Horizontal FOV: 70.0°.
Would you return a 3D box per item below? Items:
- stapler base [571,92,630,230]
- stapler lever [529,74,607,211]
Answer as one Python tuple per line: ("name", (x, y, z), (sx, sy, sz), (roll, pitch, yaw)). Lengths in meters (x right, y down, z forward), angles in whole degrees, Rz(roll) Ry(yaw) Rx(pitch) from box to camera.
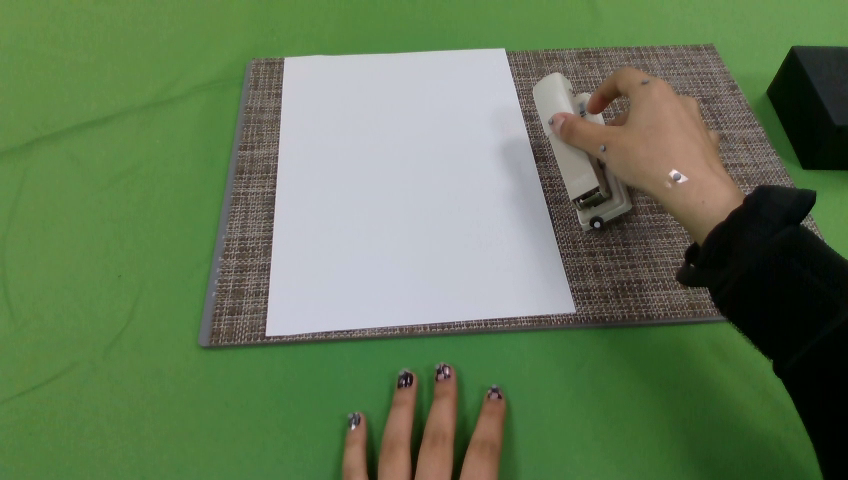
("stapler base", (0.125, -0.071, 0.480), (0.025, 0.041, 0.129), (27, 44, -37))
("stapler lever", (0.108, -0.079, 0.463), (0.040, 0.027, 0.117), (27, 44, -37))
